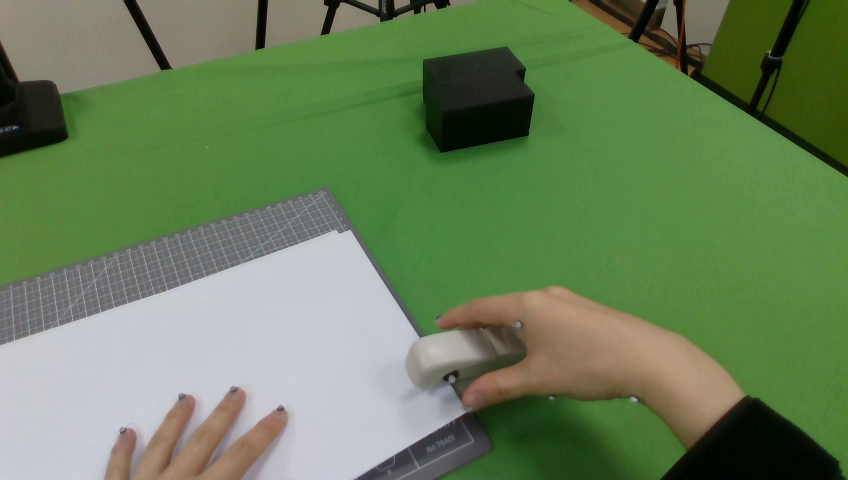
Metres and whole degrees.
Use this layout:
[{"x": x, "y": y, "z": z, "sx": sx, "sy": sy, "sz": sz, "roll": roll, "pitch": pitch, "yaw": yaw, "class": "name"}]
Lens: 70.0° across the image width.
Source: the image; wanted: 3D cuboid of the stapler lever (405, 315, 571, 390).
[{"x": 0.044, "y": 0.071, "z": 0.407, "sx": 0.118, "sy": 0.040, "sz": 0.026, "roll": -13, "pitch": 49, "yaw": -18, "class": "stapler lever"}]

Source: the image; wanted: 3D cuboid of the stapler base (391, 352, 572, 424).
[{"x": 0.042, "y": 0.089, "z": 0.423, "sx": 0.131, "sy": 0.024, "sz": 0.041, "roll": -12, "pitch": 49, "yaw": -18, "class": "stapler base"}]
